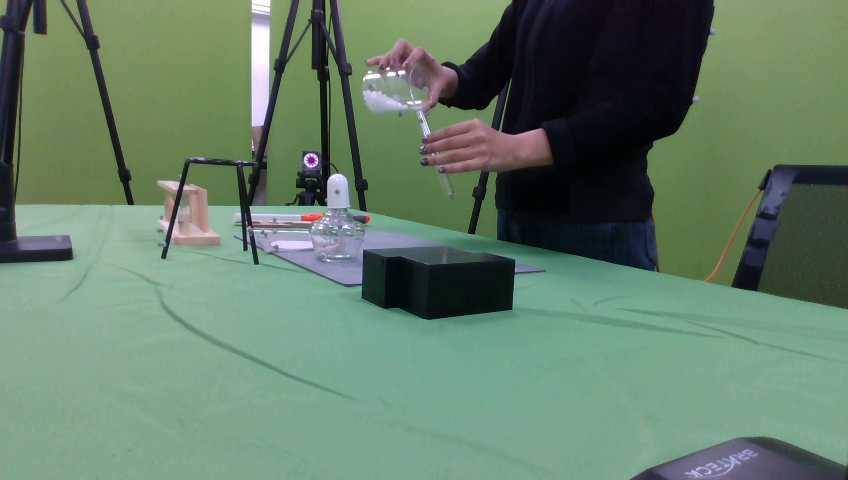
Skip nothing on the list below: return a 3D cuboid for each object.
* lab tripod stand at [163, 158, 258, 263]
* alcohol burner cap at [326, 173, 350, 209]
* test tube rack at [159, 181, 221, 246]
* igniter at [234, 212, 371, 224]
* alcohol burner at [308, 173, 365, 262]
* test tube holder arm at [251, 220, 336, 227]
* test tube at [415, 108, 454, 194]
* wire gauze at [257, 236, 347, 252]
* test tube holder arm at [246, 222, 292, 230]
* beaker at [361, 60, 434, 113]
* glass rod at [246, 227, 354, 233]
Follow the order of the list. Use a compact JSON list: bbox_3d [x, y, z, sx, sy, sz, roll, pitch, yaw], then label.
[{"bbox_3d":[-0.265,-0.041,0.802,0.148,0.131,0.148,4,7,0],"label":"lab tripod stand"},{"bbox_3d":[-0.116,-0.065,0.808,0.034,0.048,0.034,-3,10,1],"label":"alcohol burner cap"},{"bbox_3d":[-0.395,-0.050,1.010,0.067,0.085,0.241,-2,8,-28],"label":"test tube rack"},{"bbox_3d":[-0.245,-0.045,1.248,0.278,0.025,0.057,-1,-2,-25],"label":"igniter"},{"bbox_3d":[-0.117,-0.030,0.813,0.078,0.119,0.078,4,9,0],"label":"alcohol burner"},{"bbox_3d":[-0.254,-0.031,1.156,0.179,0.015,0.013,-2,44,-31],"label":"test tube holder arm"},{"bbox_3d":[0.017,-0.139,0.946,0.017,0.150,0.017,-19,-14,-5],"label":"test tube"},{"bbox_3d":[-0.189,0.005,0.931,0.122,0.011,0.124,1,7,-21],"label":"wire gauze"},{"bbox_3d":[-0.291,-0.026,1.130,0.088,0.015,0.010,-1,44,-29],"label":"test tube holder arm"},{"bbox_3d":[-0.045,-0.245,0.987,0.100,0.084,0.074,2,0,31],"label":"beaker"},{"bbox_3d":[-0.224,-0.017,1.109,0.201,0.008,0.008,1,7,-27],"label":"glass rod"}]
